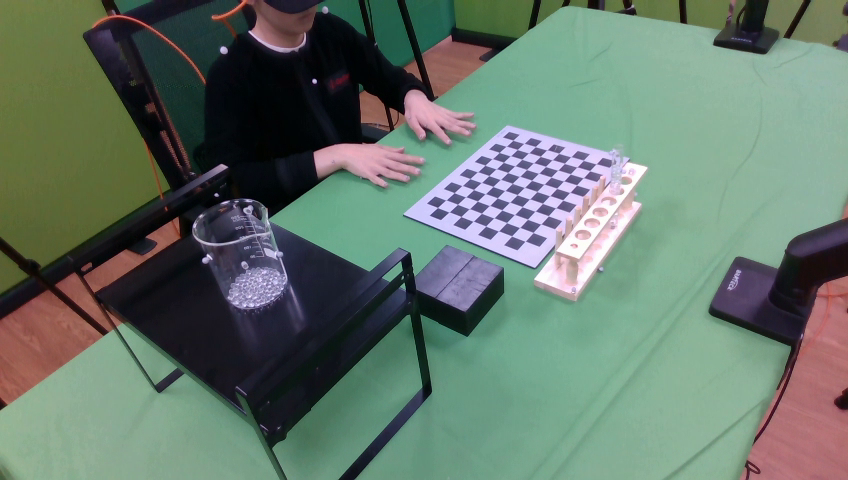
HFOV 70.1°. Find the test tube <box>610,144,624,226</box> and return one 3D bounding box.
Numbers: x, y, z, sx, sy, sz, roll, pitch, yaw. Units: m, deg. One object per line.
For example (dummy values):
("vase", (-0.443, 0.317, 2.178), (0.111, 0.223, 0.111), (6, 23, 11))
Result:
("test tube", (0.286, -0.078, 0.898), (0.017, 0.151, 0.017), (-7, 44, 7))

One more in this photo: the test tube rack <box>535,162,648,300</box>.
("test tube rack", (0.257, -0.024, 0.916), (0.066, 0.085, 0.243), (22, 49, 30))

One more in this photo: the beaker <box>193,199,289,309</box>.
("beaker", (-0.188, 0.018, 0.646), (0.083, 0.101, 0.074), (9, 43, 17))
